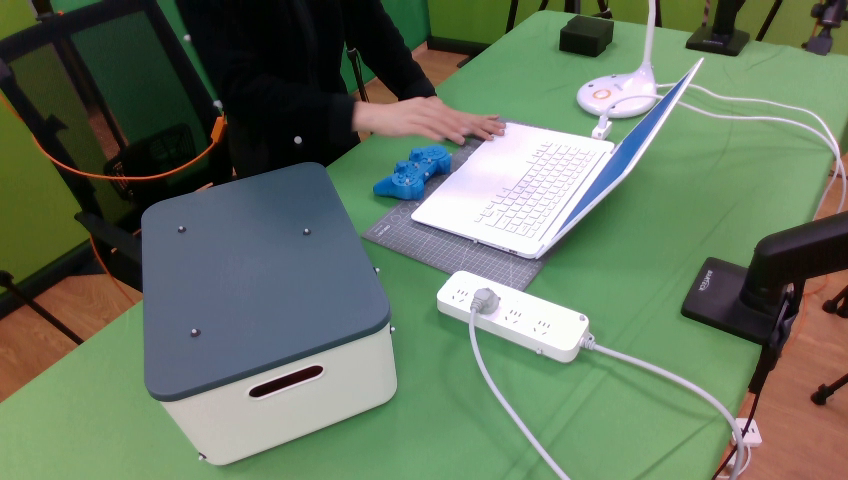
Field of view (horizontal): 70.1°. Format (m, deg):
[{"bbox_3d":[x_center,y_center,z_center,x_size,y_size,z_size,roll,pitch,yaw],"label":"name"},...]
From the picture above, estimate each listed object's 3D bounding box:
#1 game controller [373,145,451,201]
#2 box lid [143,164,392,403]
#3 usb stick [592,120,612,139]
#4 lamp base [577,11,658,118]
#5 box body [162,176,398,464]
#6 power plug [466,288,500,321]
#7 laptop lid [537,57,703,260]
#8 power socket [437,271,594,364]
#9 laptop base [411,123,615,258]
[{"bbox_3d":[-0.018,-0.130,1.111,0.096,0.052,0.155,21,48,27],"label":"game controller"},{"bbox_3d":[-0.212,0.025,0.753,0.264,0.015,0.368,-18,40,-13],"label":"box lid"},{"bbox_3d":[0.335,-0.203,1.149,0.021,0.027,0.059,26,53,26],"label":"usb stick"},{"bbox_3d":[0.406,-0.363,1.222,0.180,0.181,0.159,-20,42,-18],"label":"lamp base"},{"bbox_3d":[-0.205,0.080,0.802,0.255,0.161,0.361,-18,41,-13],"label":"box body"},{"bbox_3d":[0.072,0.093,0.813,0.073,0.053,0.035,-37,49,-28],"label":"power plug"},{"bbox_3d":[0.304,-0.127,0.928,0.013,0.241,0.357,40,51,4],"label":"laptop lid"},{"bbox_3d":[0.118,0.102,0.830,0.225,0.033,0.072,20,48,28],"label":"power socket"},{"bbox_3d":[0.167,-0.102,1.074,0.234,0.023,0.355,17,45,30],"label":"laptop base"}]
